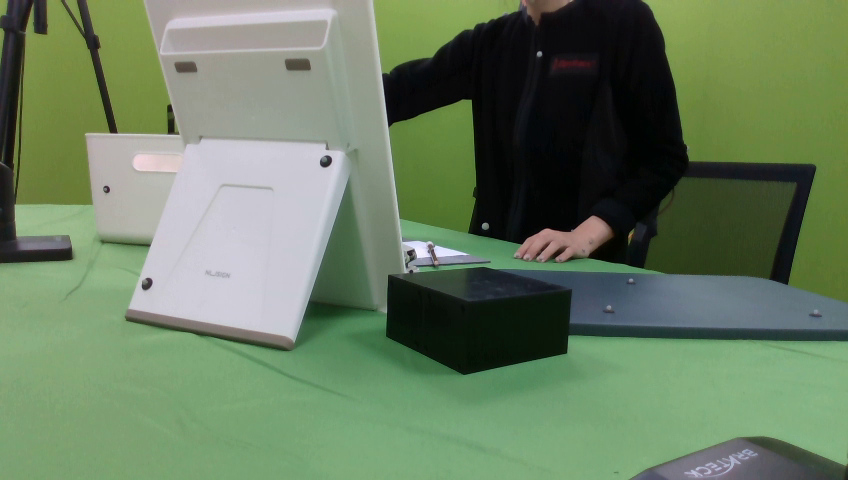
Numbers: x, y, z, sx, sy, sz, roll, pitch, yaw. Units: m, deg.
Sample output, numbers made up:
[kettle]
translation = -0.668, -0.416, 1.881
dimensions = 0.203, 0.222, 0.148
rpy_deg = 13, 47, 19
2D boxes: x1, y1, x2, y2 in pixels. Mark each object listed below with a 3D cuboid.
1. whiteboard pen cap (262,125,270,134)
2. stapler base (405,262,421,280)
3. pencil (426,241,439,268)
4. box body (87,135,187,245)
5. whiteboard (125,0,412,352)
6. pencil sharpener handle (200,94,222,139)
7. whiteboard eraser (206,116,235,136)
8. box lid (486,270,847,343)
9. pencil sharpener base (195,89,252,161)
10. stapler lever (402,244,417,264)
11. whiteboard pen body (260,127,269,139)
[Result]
[whiteboard pen cap]
translation = -0.349, -0.244, 1.337
dimensions = 0.018, 0.018, 0.033
rpy_deg = 0, 2, -17
[stapler base]
translation = -0.069, 0.027, 0.759
dimensions = 0.130, 0.024, 0.041
rpy_deg = 9, 13, 23
[pencil]
translation = 0.013, 0.021, 0.885
dimensions = 0.012, 0.012, 0.194
rpy_deg = 2, 9, -3
[box body]
translation = -0.338, -0.088, 1.022
dimensions = 0.254, 0.160, 0.364
rpy_deg = 3, 7, 9
[whiteboard]
translation = -0.151, -0.049, 0.472
dimensions = 0.216, 0.305, 0.144
rpy_deg = 6, 27, 24
[pencil sharpener handle]
translation = -0.324, -0.185, 0.909
dimensions = 0.036, 0.068, 0.031
rpy_deg = -6, 11, 12
[whiteboard eraser]
translation = -0.450, -0.252, 1.335
dimensions = 0.056, 0.042, 0.112
rpy_deg = 1, 7, -22
[box lid]
translation = 0.266, 0.066, 0.643
dimensions = 0.372, 0.015, 0.263
rpy_deg = 2, 7, -5
[pencil sharpener base]
translation = -0.320, -0.184, 0.961
dimensions = 0.061, 0.107, 0.077
rpy_deg = 9, 14, 9
[stapler lever]
translation = -0.066, 0.003, 0.755
dimensions = 0.117, 0.040, 0.027
rpy_deg = 9, 13, 23
[whiteboard pen body]
translation = -0.366, -0.247, 1.392
dimensions = 0.017, 0.017, 0.140
rpy_deg = 0, 3, -17
